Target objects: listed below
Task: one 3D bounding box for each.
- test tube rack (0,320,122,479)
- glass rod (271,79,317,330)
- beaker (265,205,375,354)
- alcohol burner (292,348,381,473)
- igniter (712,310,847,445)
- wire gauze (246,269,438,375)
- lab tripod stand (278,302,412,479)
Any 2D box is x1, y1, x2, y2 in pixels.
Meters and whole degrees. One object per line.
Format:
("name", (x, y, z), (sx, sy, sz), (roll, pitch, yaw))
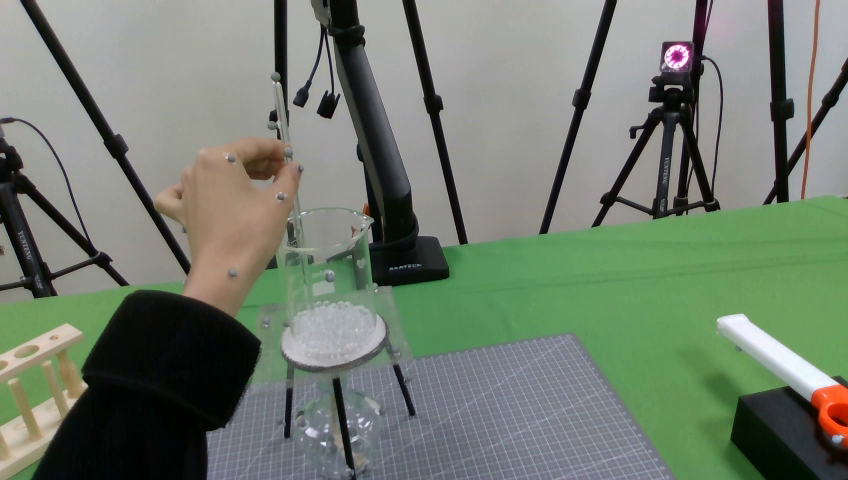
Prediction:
("test tube rack", (-0.419, 0.176, 0.553), (0.066, 0.086, 0.242), (15, 32, 33))
("glass rod", (-0.099, -0.020, 0.462), (0.008, 0.201, 0.008), (-4, 20, 2))
("beaker", (-0.075, 0.031, 0.478), (0.084, 0.101, 0.073), (-19, 32, -27))
("alcohol burner", (-0.078, 0.144, 0.531), (0.078, 0.120, 0.077), (-2, 26, 1))
("igniter", (0.335, 0.131, 0.497), (0.057, 0.025, 0.274), (-9, 23, -9))
("wire gauze", (-0.070, 0.063, 0.488), (0.125, 0.011, 0.120), (-14, 26, -28))
("lab tripod stand", (-0.069, 0.134, 0.528), (0.148, 0.132, 0.147), (-2, 28, 1))
